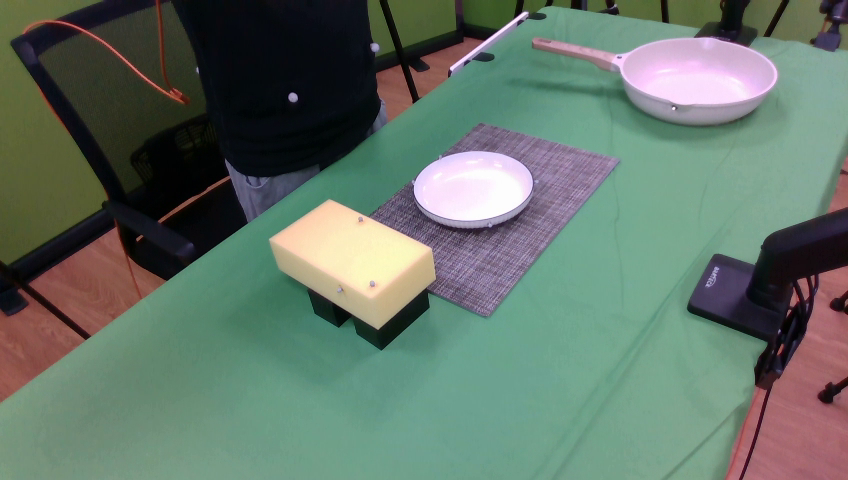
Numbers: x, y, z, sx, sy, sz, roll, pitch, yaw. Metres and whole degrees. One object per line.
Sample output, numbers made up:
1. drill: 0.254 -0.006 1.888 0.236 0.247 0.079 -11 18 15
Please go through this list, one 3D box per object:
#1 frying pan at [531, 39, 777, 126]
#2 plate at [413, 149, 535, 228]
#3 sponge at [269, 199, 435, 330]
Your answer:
1. frying pan: 0.452 -0.354 1.254 0.485 0.103 0.307 22 47 19
2. plate: 0.086 -0.085 1.038 0.207 0.039 0.206 -4 40 4
3. sponge: -0.102 0.027 0.846 0.205 0.061 0.118 25 50 32
